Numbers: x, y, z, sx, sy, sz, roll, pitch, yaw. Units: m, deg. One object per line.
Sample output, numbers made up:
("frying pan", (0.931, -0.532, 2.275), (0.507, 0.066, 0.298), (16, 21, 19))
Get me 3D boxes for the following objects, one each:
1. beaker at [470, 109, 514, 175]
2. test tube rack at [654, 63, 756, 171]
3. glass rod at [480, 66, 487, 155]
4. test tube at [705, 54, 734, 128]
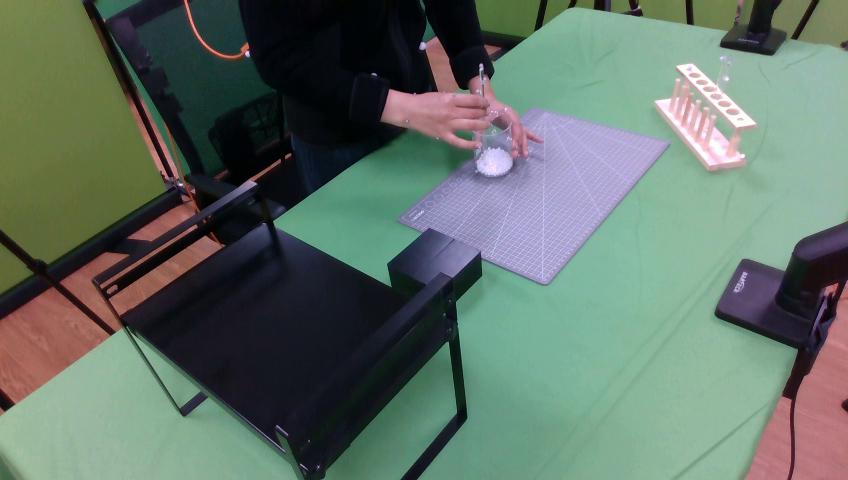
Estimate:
("beaker", (0.125, -0.174, 1.080), (0.073, 0.101, 0.084), (10, 50, 21))
("test tube rack", (0.510, -0.233, 1.120), (0.067, 0.085, 0.241), (-8, 41, -1))
("glass rod", (0.103, -0.217, 1.036), (0.008, 0.200, 0.008), (-3, 54, 5))
("test tube", (0.523, -0.260, 1.073), (0.017, 0.151, 0.017), (-4, 46, 4))
